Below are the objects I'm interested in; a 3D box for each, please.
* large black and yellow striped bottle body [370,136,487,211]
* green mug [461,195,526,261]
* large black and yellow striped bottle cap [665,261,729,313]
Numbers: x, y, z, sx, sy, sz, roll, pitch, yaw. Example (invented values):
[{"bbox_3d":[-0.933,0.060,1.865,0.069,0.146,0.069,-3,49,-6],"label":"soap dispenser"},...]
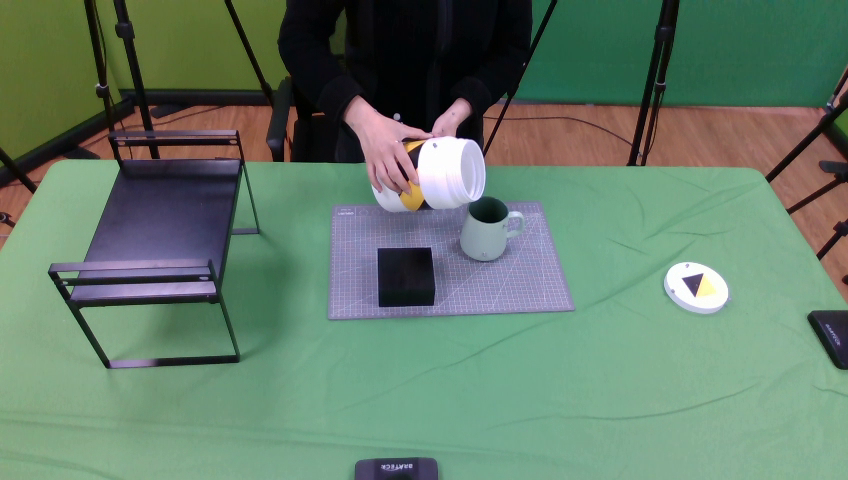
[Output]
[{"bbox_3d":[0.009,-0.121,1.109,0.183,0.131,0.130,-1,41,29],"label":"large black and yellow striped bottle body"},{"bbox_3d":[0.136,-0.025,1.168,0.125,0.105,0.092,-7,47,-10],"label":"green mug"},{"bbox_3d":[0.518,0.087,1.153,0.115,0.019,0.114,2,47,-2],"label":"large black and yellow striped bottle cap"}]
